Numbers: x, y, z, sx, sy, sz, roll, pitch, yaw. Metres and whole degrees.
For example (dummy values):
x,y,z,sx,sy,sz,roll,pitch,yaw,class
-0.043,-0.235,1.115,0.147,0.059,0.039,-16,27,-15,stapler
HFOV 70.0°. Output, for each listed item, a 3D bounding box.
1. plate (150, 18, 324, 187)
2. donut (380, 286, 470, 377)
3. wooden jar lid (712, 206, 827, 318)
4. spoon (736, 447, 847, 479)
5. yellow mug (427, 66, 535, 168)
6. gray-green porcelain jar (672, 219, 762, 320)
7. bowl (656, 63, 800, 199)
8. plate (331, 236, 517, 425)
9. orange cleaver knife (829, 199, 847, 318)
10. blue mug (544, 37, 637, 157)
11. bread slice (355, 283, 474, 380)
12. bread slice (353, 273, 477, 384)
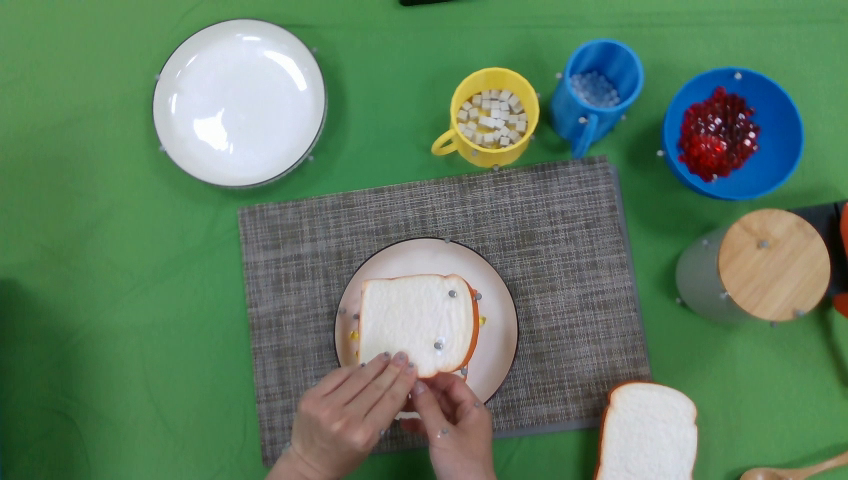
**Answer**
x,y,z,sx,sy,sz,roll,pitch,yaw,class
-0.222,-0.163,0.733,0.207,0.039,0.207,0,82,2,plate
0.002,0.099,0.657,0.099,0.048,0.099,0,85,-2,donut
0.329,0.022,0.583,0.108,0.021,0.108,0,84,-1,wooden jar lid
0.432,0.246,0.664,0.194,0.022,0.041,-19,63,-1,spoon
0.062,-0.134,0.706,0.131,0.064,0.099,-29,81,-1,yellow mug
0.332,0.032,0.645,0.106,0.127,0.105,0,82,2,gray-green porcelain jar
0.331,-0.113,0.690,0.151,0.077,0.151,0,82,2,bowl
0.001,0.100,0.686,0.209,0.038,0.208,0,82,2,plate
0.466,0.062,0.658,0.012,0.076,0.212,-9,108,1,orange cleaver knife
0.182,-0.151,0.686,0.082,0.106,0.116,13,82,4,blue mug
-0.012,0.100,0.688,0.131,0.019,0.104,5,81,1,bread slice
-0.012,0.082,0.595,0.134,0.018,0.106,-11,71,26,bread slice
